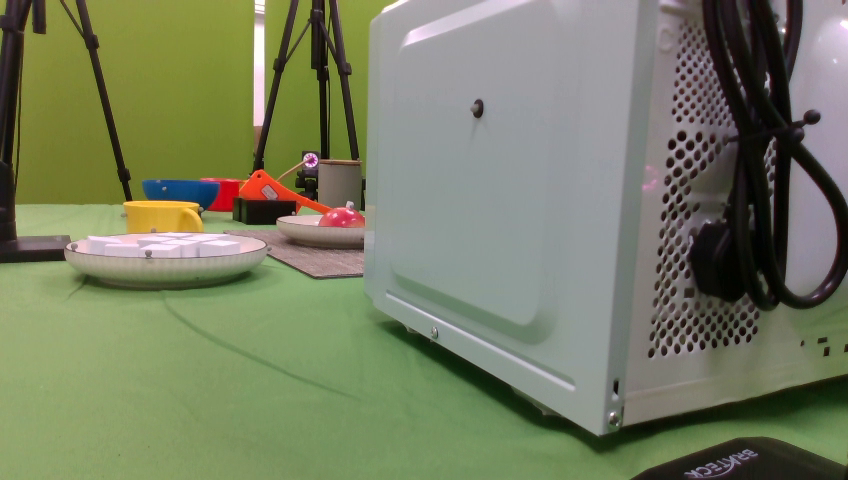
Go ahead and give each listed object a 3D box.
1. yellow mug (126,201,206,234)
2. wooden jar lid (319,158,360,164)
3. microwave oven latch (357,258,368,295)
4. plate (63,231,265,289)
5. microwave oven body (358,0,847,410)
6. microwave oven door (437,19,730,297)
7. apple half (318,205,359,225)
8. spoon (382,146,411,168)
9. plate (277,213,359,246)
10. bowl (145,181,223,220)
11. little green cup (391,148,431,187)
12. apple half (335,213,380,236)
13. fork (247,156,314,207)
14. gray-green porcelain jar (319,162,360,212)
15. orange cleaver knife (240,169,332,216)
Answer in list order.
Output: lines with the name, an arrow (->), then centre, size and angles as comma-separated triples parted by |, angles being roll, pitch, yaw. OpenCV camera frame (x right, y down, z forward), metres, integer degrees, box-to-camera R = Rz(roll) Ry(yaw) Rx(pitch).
yellow mug -> -0.360, -0.019, 0.866 | 0.130, 0.064, 0.100 | 6, 9, 27
wooden jar lid -> -0.203, -0.189, 1.482 | 0.108, 0.020, 0.108 | 2, 10, 0
microwave oven latch -> -0.019, 0.031, 0.529 | 0.079, 0.029, 0.030 | -1, 7, -27
plate -> -0.288, 0.021, 0.687 | 0.208, 0.039, 0.207 | 2, 8, 0
microwave oven body -> 0.210, -0.051, 0.471 | 0.444, 0.260, 0.324 | -1, 7, -28
microwave oven door -> 0.181, -0.076, 0.618 | 0.358, 0.243, 0.039 | -2, 9, -28
apple half -> -0.126, -0.028, 0.954 | 0.081, 0.053, 0.074 | -2, 10, -33
spoon -> -0.052, -0.151, 1.057 | 0.042, 0.021, 0.193 | 25, 12, -16
plate -> -0.135, -0.018, 0.993 | 0.209, 0.038, 0.209 | 2, 7, 0
bowl -> -0.499, -0.081, 1.261 | 0.151, 0.077, 0.151 | 2, 7, 0
little green cup -> -0.019, -0.116, 0.985 | 0.061, 0.038, 0.061 | -24, -17, -8
apple half -> -0.112, -0.029, 1.034 | 0.081, 0.033, 0.081 | 0, 10, 0
fork -> -0.360, -0.147, 1.523 | 0.207, 0.018, 0.028 | -43, 14, -7
gray-green porcelain jar -> -0.204, -0.126, 1.489 | 0.106, 0.126, 0.106 | 2, 7, 0
orange cleaver knife -> -0.286, -0.082, 1.298 | 0.212, 0.077, 0.012 | 25, -2, -31
